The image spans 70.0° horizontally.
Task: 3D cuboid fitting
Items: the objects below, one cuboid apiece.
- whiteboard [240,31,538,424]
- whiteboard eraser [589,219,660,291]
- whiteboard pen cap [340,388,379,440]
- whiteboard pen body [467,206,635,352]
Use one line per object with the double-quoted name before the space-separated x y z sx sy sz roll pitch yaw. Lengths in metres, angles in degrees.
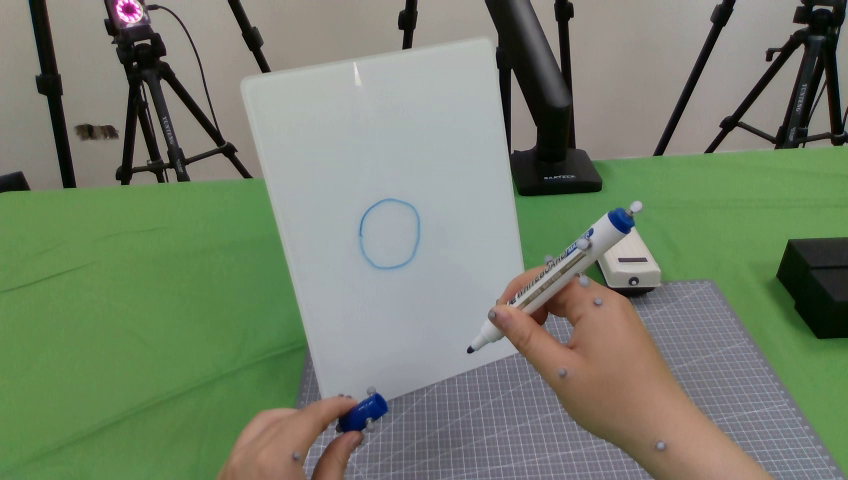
"whiteboard" -0.035 -0.022 0.589 0.218 0.307 0.142 -16 17 -17
"whiteboard eraser" 0.227 0.016 0.696 0.055 0.042 0.111 -3 31 2
"whiteboard pen cap" -0.044 0.119 0.410 0.018 0.018 0.033 14 66 23
"whiteboard pen body" 0.067 0.029 0.354 0.017 0.141 0.017 25 38 -22
